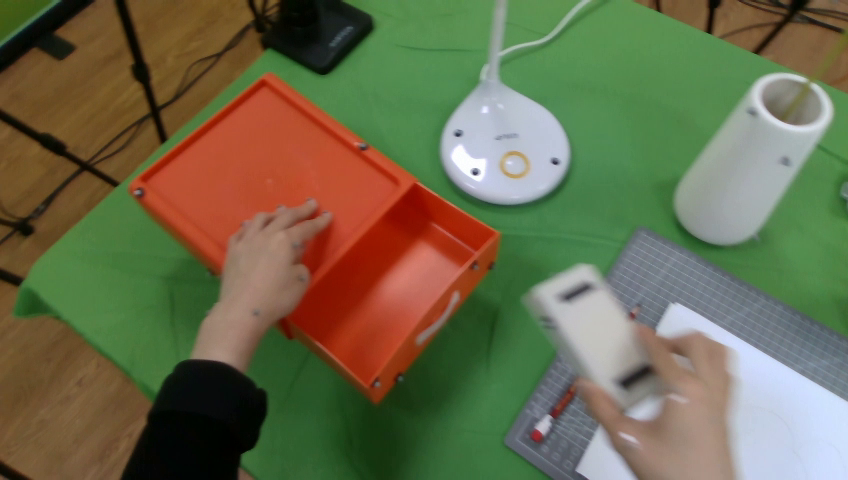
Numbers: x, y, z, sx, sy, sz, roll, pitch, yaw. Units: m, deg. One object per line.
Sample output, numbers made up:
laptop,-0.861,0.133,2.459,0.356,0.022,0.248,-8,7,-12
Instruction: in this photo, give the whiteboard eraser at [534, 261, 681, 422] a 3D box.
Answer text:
whiteboard eraser,0.134,0.074,0.453,0.056,0.042,0.112,-23,68,-23

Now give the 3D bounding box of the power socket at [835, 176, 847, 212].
power socket,0.592,-0.027,0.687,0.226,0.033,0.072,26,66,13

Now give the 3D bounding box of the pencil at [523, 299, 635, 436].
pencil,0.165,0.127,0.626,0.012,0.012,0.194,39,68,20

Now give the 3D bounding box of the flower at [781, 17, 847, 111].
flower,0.340,-0.131,0.561,0.038,0.364,0.044,20,46,4

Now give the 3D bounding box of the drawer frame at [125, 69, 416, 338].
drawer frame,-0.153,-0.043,0.633,0.212,0.083,0.201,37,70,14

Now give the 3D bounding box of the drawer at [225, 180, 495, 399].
drawer,-0.069,0.016,0.604,0.210,0.074,0.194,34,68,19

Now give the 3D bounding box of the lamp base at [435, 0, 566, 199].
lamp base,0.088,-0.166,0.688,0.161,0.182,0.177,-19,60,-9

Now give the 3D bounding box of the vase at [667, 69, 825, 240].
vase,0.326,-0.082,0.629,0.098,0.201,0.097,-1,61,2
